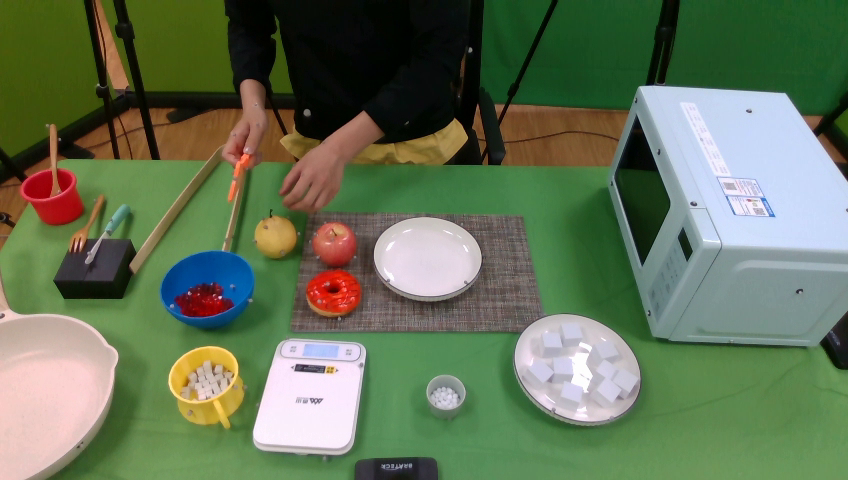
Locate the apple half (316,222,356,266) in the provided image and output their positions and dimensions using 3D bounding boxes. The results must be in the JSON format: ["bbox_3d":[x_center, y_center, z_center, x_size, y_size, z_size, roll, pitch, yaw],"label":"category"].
[{"bbox_3d":[-0.157,0.015,1.132,0.053,0.075,0.080,29,48,18],"label":"apple half"}]

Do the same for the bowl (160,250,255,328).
[{"bbox_3d":[-0.362,0.098,1.039,0.151,0.077,0.150,2,45,-2],"label":"bowl"}]

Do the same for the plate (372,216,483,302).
[{"bbox_3d":[0.006,0.038,1.145,0.209,0.038,0.208,2,46,-2],"label":"plate"}]

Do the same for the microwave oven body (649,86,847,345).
[{"bbox_3d":[0.567,-0.053,1.118,0.326,0.261,0.439,2,45,-1],"label":"microwave oven body"}]

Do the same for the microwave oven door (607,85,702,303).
[{"bbox_3d":[0.423,-0.094,1.140,0.039,0.245,0.353,2,46,-1],"label":"microwave oven door"}]

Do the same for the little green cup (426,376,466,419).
[{"bbox_3d":[0.033,0.248,0.950,0.061,0.039,0.061,2,46,-2],"label":"little green cup"}]

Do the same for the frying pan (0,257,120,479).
[{"bbox_3d":[-0.647,0.164,0.936,0.307,0.103,0.485,-19,58,-22],"label":"frying pan"}]

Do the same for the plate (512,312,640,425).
[{"bbox_3d":[0.246,0.213,0.999,0.208,0.039,0.206,2,46,-2],"label":"plate"}]

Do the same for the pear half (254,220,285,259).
[{"bbox_3d":[-0.294,0.003,1.127,0.070,0.088,0.031,25,49,16],"label":"pear half"}]

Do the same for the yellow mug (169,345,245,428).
[{"bbox_3d":[-0.322,0.230,0.922,0.100,0.064,0.130,-24,53,-25],"label":"yellow mug"}]

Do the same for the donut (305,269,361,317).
[{"bbox_3d":[-0.160,0.094,1.075,0.099,0.048,0.098,4,46,-3],"label":"donut"}]

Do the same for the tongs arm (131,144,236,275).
[{"bbox_3d":[-0.483,-0.076,1.236,0.028,0.028,0.385,5,45,14],"label":"tongs arm"}]

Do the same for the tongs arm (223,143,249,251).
[{"bbox_3d":[-0.397,-0.073,1.232,0.051,0.027,0.382,-3,45,1],"label":"tongs arm"}]

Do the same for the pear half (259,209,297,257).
[{"bbox_3d":[-0.273,-0.024,1.141,0.076,0.110,0.056,27,50,16],"label":"pear half"}]

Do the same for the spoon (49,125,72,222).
[{"bbox_3d":[-0.718,-0.131,1.189,0.041,0.021,0.193,-4,90,-7],"label":"spoon"}]

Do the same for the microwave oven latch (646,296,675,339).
[{"bbox_3d":[0.412,0.134,1.061,0.030,0.029,0.078,4,45,1],"label":"microwave oven latch"}]

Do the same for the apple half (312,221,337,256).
[{"bbox_3d":[-0.190,-0.002,1.143,0.032,0.081,0.081,28,51,18],"label":"apple half"}]

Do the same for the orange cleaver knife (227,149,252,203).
[{"bbox_3d":[-0.324,-0.116,1.064,0.012,0.077,0.210,15,15,-14],"label":"orange cleaver knife"}]

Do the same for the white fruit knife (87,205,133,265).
[{"bbox_3d":[-0.584,-0.013,1.129,0.016,0.027,0.206,-1,32,-4],"label":"white fruit knife"}]

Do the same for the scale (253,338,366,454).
[{"bbox_3d":[-0.175,0.236,0.951,0.149,0.032,0.199,4,45,-1],"label":"scale"}]

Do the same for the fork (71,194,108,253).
[{"bbox_3d":[-0.634,-0.036,1.158,0.028,0.019,0.206,-7,31,-8],"label":"fork"}]
